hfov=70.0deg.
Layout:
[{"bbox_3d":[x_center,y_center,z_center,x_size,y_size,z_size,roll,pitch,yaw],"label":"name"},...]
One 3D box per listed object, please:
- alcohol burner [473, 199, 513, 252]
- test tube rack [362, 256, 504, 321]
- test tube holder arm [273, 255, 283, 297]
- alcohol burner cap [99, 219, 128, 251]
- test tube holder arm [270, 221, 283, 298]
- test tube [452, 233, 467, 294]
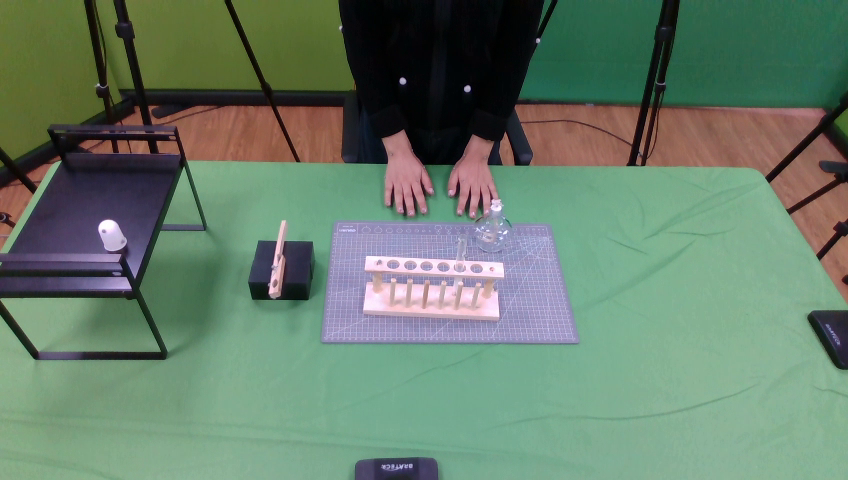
[{"bbox_3d":[0.135,-0.034,1.174,0.078,0.120,0.077,1,47,-1],"label":"alcohol burner"},{"bbox_3d":[0.015,0.085,1.069,0.242,0.085,0.066,3,45,-2],"label":"test tube rack"},{"bbox_3d":[-0.253,0.062,1.055,0.010,0.015,0.087,-5,46,-3],"label":"test tube holder arm"},{"bbox_3d":[-0.466,-0.010,0.907,0.034,0.048,0.033,1,47,-1],"label":"alcohol burner cap"},{"bbox_3d":[-0.264,0.031,1.086,0.013,0.015,0.177,-6,46,-4],"label":"test tube holder arm"},{"bbox_3d":[0.061,0.045,1.044,0.017,0.151,0.017,1,47,-1],"label":"test tube"}]
